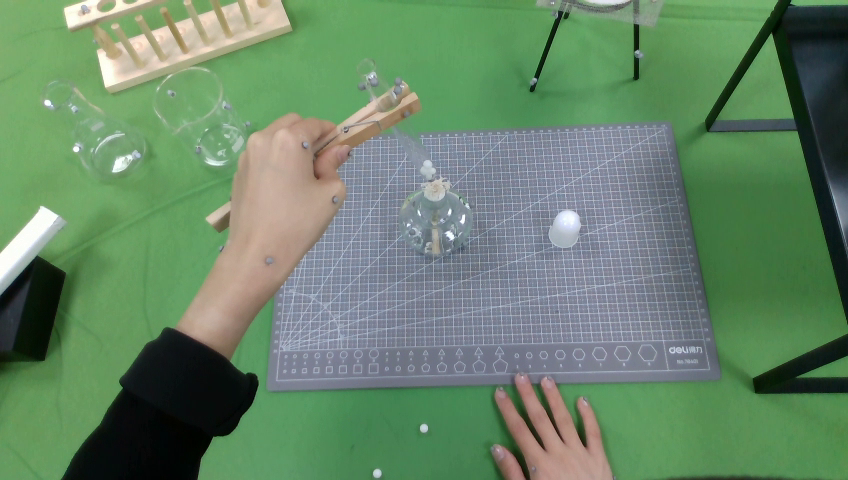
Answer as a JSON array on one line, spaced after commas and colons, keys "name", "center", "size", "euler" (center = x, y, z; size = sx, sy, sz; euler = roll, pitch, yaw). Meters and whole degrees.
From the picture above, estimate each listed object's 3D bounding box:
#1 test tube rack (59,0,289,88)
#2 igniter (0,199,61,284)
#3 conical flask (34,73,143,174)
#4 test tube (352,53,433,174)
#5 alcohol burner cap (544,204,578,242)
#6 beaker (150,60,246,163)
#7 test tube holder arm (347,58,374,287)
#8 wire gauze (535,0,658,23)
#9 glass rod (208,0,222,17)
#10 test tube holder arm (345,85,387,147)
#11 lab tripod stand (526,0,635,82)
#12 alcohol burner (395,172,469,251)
[{"name": "test tube rack", "center": [-0.301, -0.278, 0.746], "size": [0.242, 0.086, 0.066], "euler": [-21, 68, -6]}, {"name": "igniter", "center": [-0.463, 0.075, 0.591], "size": [0.057, 0.025, 0.275], "euler": [25, 70, 22]}, {"name": "conical flask", "center": [-0.375, -0.133, 0.671], "size": [0.075, 0.123, 0.075], "euler": [-1, 67, 3]}, {"name": "test tube", "center": [-0.020, -0.094, 0.483], "size": [0.017, 0.152, 0.017], "euler": [-7, 64, 16]}, {"name": "alcohol burner cap", "center": [0.147, -0.021, 0.641], "size": [0.034, 0.048, 0.033], "euler": [-1, 68, 2]}, {"name": "beaker", "center": [-0.249, -0.136, 0.679], "size": [0.074, 0.101, 0.083], "euler": [12, 69, 9]}, {"name": "test tube holder arm", "center": [-0.051, -0.051, 0.478], "size": [0.015, 0.013, 0.178], "euler": [0, 95, -22]}, {"name": "wire gauze", "center": [0.188, -0.282, 0.626], "size": [0.121, 0.011, 0.124], "euler": [19, 71, 8]}, {"name": "glass rod", "center": [-0.281, -0.337, 0.698], "size": [0.008, 0.201, 0.008], "euler": [-4, 61, 8]}, {"name": "test tube holder arm", "center": [-0.046, -0.089, 0.465], "size": [0.015, 0.088, 0.010], "euler": [3, 68, -18]}, {"name": "lab tripod stand", "center": [0.184, -0.254, 0.688], "size": [0.148, 0.132, 0.147], "euler": [0, 67, 1]}, {"name": "alcohol burner", "center": [0.008, -0.034, 0.615], "size": [0.078, 0.120, 0.077], "euler": [0, 66, 1]}]
